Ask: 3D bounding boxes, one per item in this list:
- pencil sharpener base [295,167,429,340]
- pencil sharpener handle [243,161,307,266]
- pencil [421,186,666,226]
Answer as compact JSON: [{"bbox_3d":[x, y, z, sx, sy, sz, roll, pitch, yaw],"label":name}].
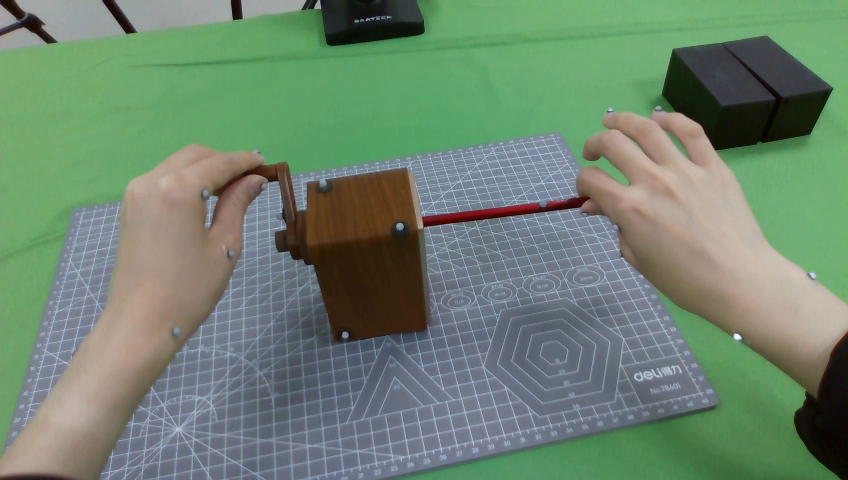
[{"bbox_3d":[-0.039,0.013,0.410,0.077,0.108,0.060,-8,47,-3],"label":"pencil sharpener base"},{"bbox_3d":[-0.093,-0.015,0.383,0.031,0.068,0.036,-8,9,-3],"label":"pencil sharpener handle"},{"bbox_3d":[0.067,-0.021,0.400,0.194,0.012,0.012,-7,46,-5],"label":"pencil"}]
